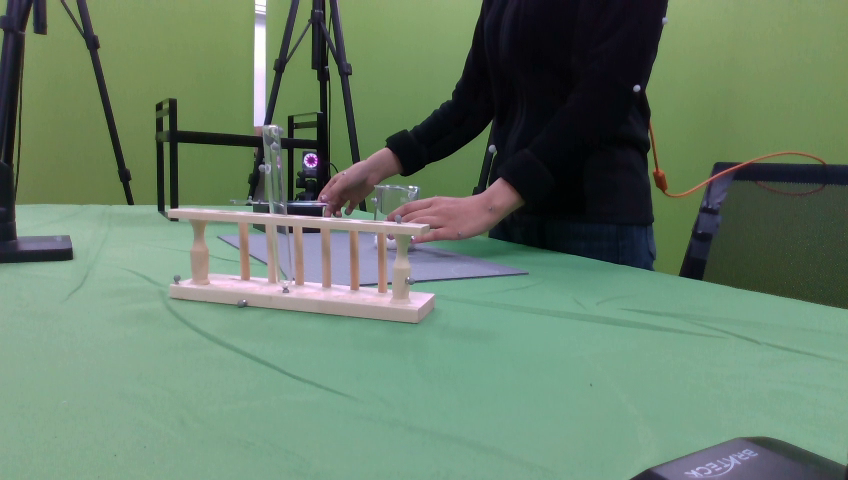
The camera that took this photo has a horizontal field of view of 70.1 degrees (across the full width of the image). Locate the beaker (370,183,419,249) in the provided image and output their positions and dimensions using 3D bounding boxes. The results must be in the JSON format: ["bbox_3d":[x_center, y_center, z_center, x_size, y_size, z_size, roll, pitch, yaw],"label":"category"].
[{"bbox_3d":[-0.044,-0.038,0.954,0.074,0.100,0.083,-5,11,-42],"label":"beaker"}]

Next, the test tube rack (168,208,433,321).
[{"bbox_3d":[-0.115,0.017,0.574,0.242,0.085,0.067,4,8,13],"label":"test tube rack"}]

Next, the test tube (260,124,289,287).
[{"bbox_3d":[-0.137,-0.031,0.556,0.017,0.150,0.017,-3,6,1],"label":"test tube"}]

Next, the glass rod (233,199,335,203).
[{"bbox_3d":[-0.264,-0.076,1.160,0.201,0.008,0.008,-2,9,-31],"label":"glass rod"}]
